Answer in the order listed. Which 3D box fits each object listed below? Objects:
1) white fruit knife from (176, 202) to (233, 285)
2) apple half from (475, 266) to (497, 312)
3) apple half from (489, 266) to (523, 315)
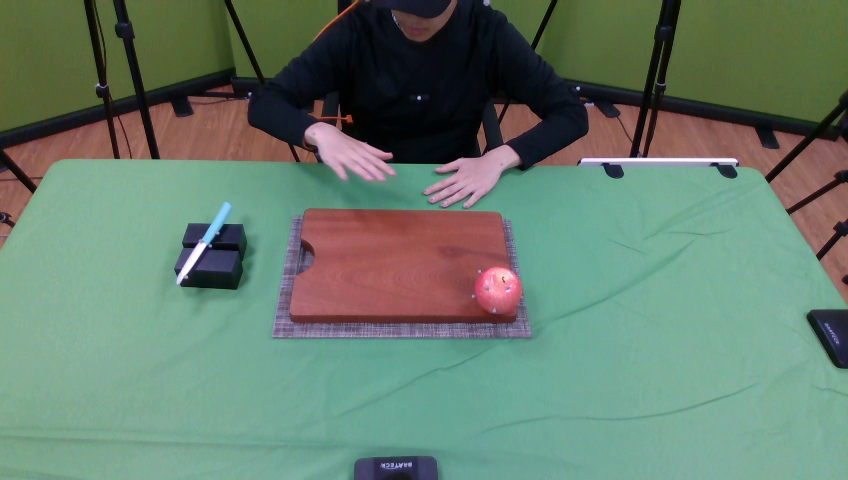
[{"bbox_3d":[-0.397,0.003,1.102,0.027,0.016,0.206,-6,44,24],"label":"white fruit knife"},{"bbox_3d":[0.103,0.085,1.044,0.033,0.081,0.081,10,46,1],"label":"apple half"},{"bbox_3d":[0.142,0.091,1.043,0.053,0.075,0.080,10,44,1],"label":"apple half"}]
